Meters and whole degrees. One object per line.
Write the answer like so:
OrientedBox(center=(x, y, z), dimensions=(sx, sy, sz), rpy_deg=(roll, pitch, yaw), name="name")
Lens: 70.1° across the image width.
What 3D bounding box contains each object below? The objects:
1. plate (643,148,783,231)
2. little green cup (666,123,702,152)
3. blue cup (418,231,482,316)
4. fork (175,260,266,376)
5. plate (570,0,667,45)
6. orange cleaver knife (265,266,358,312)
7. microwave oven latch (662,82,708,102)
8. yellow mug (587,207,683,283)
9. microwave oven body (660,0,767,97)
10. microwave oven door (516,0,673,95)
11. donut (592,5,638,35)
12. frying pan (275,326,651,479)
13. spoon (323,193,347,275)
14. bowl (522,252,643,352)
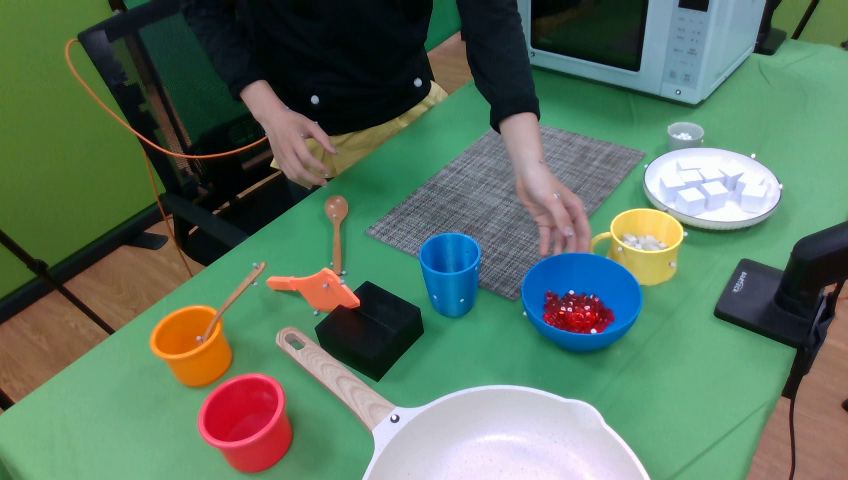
OrientedBox(center=(0.464, -0.080, 0.985), dimensions=(0.207, 0.039, 0.206), rpy_deg=(-4, 41, 4), name="plate")
OrientedBox(center=(0.472, -0.183, 1.103), dimensions=(0.061, 0.039, 0.061), rpy_deg=(-5, 41, 5), name="little green cup")
OrientedBox(center=(0.039, 0.053, 0.843), dimensions=(0.092, 0.100, 0.092), rpy_deg=(-4, 43, 4), name="blue cup")
OrientedBox(center=(-0.268, 0.102, 0.792), dimensions=(0.207, 0.019, 0.028), rpy_deg=(-51, 41, 16), name="fork")
OrientedBox(center=(0.436, -0.490, 1.368), dimensions=(0.209, 0.038, 0.208), rpy_deg=(-5, 40, 5), name="plate")
OrientedBox(center=(-0.164, 0.073, 0.864), dimensions=(0.210, 0.077, 0.012), rpy_deg=(-6, 30, 50), name="orange cleaver knife")
OrientedBox(center=(0.518, -0.299, 1.203), dimensions=(0.078, 0.029, 0.030), rpy_deg=(29, 53, 36), name="microwave oven latch")
OrientedBox(center=(0.305, 0.008, 0.885), dimensions=(0.131, 0.064, 0.099), rpy_deg=(-4, 42, 5), name="yellow mug")
OrientedBox(center=(0.473, -0.517, 1.313), dimensions=(0.438, 0.261, 0.327), rpy_deg=(26, 51, 34), name="microwave oven body")
OrientedBox(center=(0.344, -0.458, 1.256), dimensions=(0.353, 0.245, 0.039), rpy_deg=(26, 51, 33), name="microwave oven door")
OrientedBox(center=(0.428, -0.492, 1.352), dimensions=(0.099, 0.048, 0.098), rpy_deg=(-6, 41, 6), name="donut")
OrientedBox(center=(0.004, 0.229, 0.641), dimensions=(0.484, 0.103, 0.308), rpy_deg=(34, 54, 28), name="frying pan")
OrientedBox(center=(-0.148, -0.014, 1.008), dimensions=(0.042, 0.022, 0.192), rpy_deg=(1, 40, -9), name="spoon")
OrientedBox(center=(0.204, 0.093, 0.792), dimensions=(0.151, 0.077, 0.150), rpy_deg=(-4, 40, 4), name="bowl")
